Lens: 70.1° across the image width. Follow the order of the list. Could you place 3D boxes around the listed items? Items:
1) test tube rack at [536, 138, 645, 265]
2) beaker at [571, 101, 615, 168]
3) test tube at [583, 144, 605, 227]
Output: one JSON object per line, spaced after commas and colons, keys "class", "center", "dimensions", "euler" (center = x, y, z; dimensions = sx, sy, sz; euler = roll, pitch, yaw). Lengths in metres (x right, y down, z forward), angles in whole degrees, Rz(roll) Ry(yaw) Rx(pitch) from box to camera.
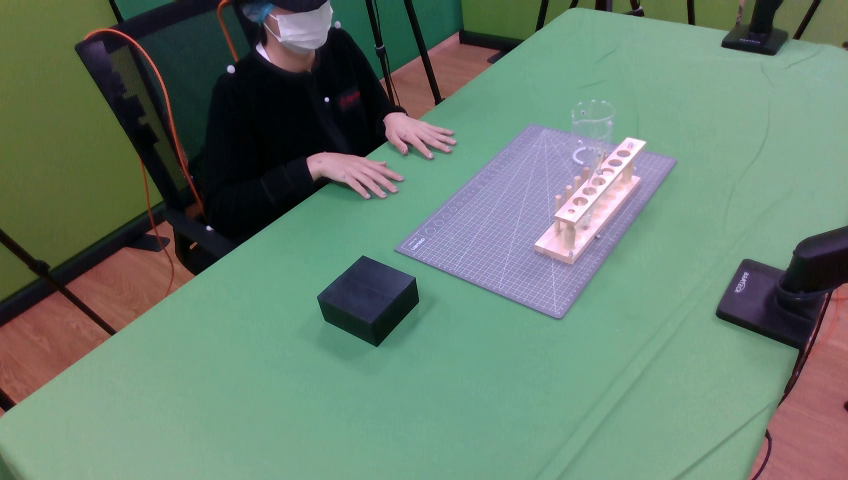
{"class": "test tube rack", "center": [0.268, -0.071, 0.964], "dimensions": [0.066, 0.085, 0.243], "euler": [23, 49, 32]}
{"class": "beaker", "center": [0.299, -0.186, 1.086], "dimensions": [0.084, 0.101, 0.073], "euler": [-27, 43, -21]}
{"class": "test tube", "center": [0.251, -0.077, 0.896], "dimensions": [0.017, 0.151, 0.017], "euler": [-2, 43, 3]}
